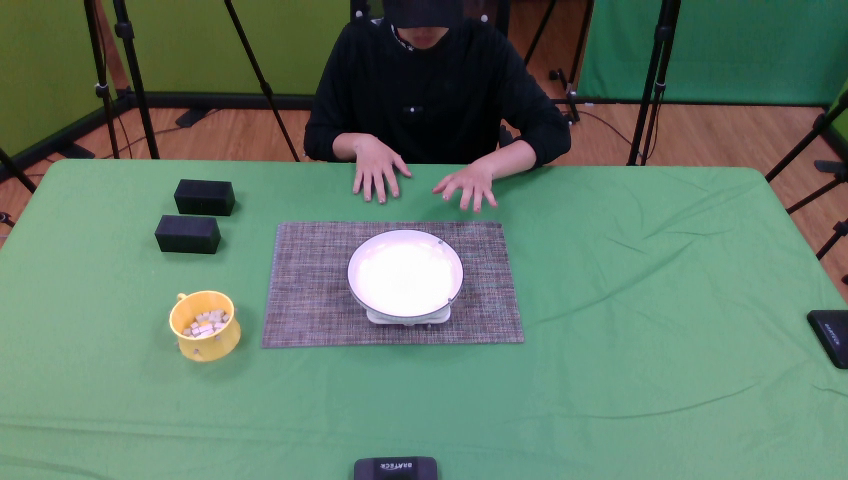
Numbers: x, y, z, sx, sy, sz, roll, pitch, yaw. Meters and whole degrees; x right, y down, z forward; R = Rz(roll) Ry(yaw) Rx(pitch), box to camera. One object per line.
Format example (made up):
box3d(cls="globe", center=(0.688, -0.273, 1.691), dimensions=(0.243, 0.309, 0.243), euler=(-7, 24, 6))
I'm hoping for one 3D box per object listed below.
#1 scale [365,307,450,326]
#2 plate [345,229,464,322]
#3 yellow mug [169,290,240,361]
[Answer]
box3d(cls="scale", center=(-0.032, 0.071, 1.113), dimensions=(0.149, 0.032, 0.199), euler=(0, 46, -4))
box3d(cls="plate", center=(-0.034, 0.065, 1.072), dimensions=(0.209, 0.038, 0.208), euler=(2, 46, -2))
box3d(cls="yellow mug", center=(-0.373, 0.132, 1.009), dimensions=(0.130, 0.064, 0.100), euler=(35, 53, 27))
